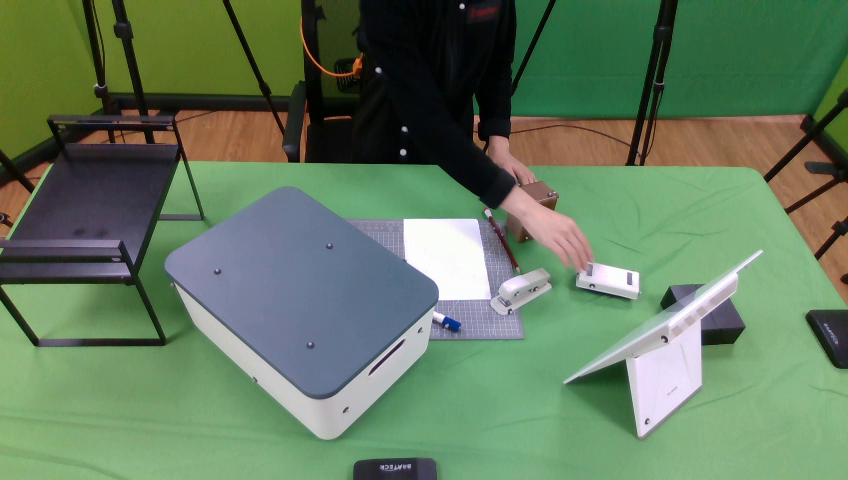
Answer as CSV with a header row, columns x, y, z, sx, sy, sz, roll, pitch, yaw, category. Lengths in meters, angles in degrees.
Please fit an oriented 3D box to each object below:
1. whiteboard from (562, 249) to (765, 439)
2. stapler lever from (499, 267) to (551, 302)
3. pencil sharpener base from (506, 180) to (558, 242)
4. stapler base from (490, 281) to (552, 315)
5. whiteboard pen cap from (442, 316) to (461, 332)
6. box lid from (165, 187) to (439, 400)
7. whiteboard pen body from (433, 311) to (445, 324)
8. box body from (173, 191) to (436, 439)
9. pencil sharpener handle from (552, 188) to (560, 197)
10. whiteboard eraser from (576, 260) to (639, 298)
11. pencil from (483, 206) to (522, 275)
x,y,z,sx,sy,sz,roll,pitch,yaw,category
0.386,0.176,0.905,0.217,0.306,0.143,-26,72,-26,whiteboard
0.185,0.076,1.101,0.118,0.040,0.026,-24,56,-28,stapler lever
0.216,-0.059,1.211,0.077,0.107,0.061,-16,49,-19,pencil sharpener base
0.181,0.094,1.118,0.130,0.024,0.041,-24,56,-29,stapler base
0.048,0.146,1.059,0.033,0.018,0.018,24,49,16,whiteboard pen cap
-0.186,0.060,0.925,0.370,0.015,0.263,32,53,25,box lid
-0.004,0.123,1.074,0.140,0.017,0.017,24,49,15,whiteboard pen body
-0.191,0.110,0.979,0.362,0.161,0.254,33,53,24,box body
0.261,-0.084,1.221,0.031,0.068,0.036,-16,66,-19,pencil sharpener handle
0.345,0.075,1.137,0.112,0.042,0.055,12,44,8,whiteboard eraser
0.158,-0.001,1.218,0.012,0.012,0.192,-11,49,-14,pencil
